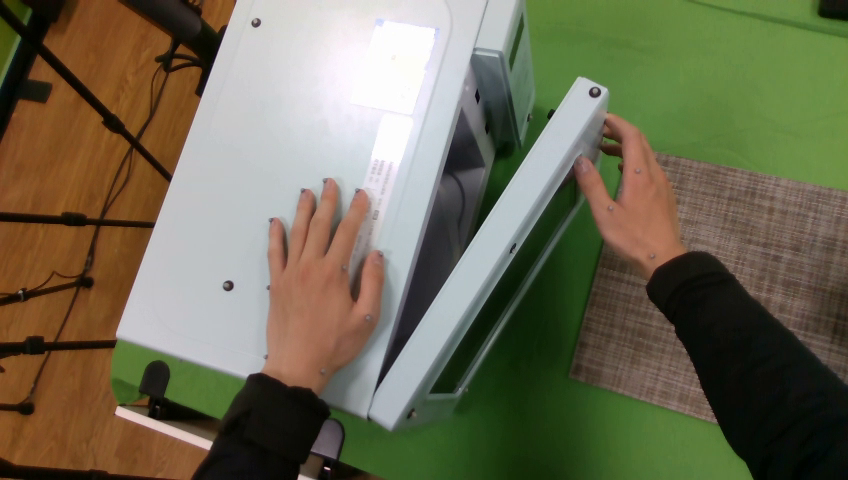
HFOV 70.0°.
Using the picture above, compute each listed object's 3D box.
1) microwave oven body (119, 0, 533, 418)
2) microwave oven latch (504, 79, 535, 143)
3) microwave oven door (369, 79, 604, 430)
[{"bbox_3d":[-0.088,-0.056,0.702,0.325,0.262,0.440,14,81,15],"label":"microwave oven body"},{"bbox_3d":[0.122,-0.168,0.781,0.030,0.030,0.079,15,82,16],"label":"microwave oven latch"},{"bbox_3d":[0.080,0.034,0.637,0.039,0.245,0.355,31,86,19],"label":"microwave oven door"}]
